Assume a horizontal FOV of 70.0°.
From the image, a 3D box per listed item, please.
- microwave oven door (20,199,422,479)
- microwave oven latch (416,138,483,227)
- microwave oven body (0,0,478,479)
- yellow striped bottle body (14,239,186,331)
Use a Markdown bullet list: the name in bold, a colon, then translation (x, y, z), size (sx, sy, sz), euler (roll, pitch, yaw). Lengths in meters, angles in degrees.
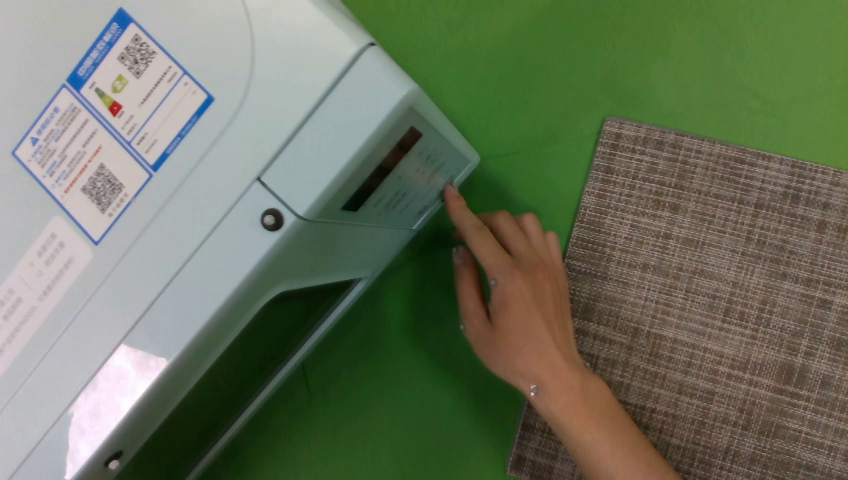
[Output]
- **microwave oven door**: translation (-0.156, 0.113, 0.412), size (0.039, 0.244, 0.356), euler (43, 98, 10)
- **microwave oven latch**: translation (0.012, -0.047, 0.478), size (0.030, 0.029, 0.079), euler (45, 99, 8)
- **microwave oven body**: translation (-0.232, -0.017, 0.431), size (0.325, 0.261, 0.442), euler (43, 99, 8)
- **yellow striped bottle body**: translation (-0.232, 0.030, 0.439), size (0.063, 0.120, 0.063), euler (0, 90, 8)
